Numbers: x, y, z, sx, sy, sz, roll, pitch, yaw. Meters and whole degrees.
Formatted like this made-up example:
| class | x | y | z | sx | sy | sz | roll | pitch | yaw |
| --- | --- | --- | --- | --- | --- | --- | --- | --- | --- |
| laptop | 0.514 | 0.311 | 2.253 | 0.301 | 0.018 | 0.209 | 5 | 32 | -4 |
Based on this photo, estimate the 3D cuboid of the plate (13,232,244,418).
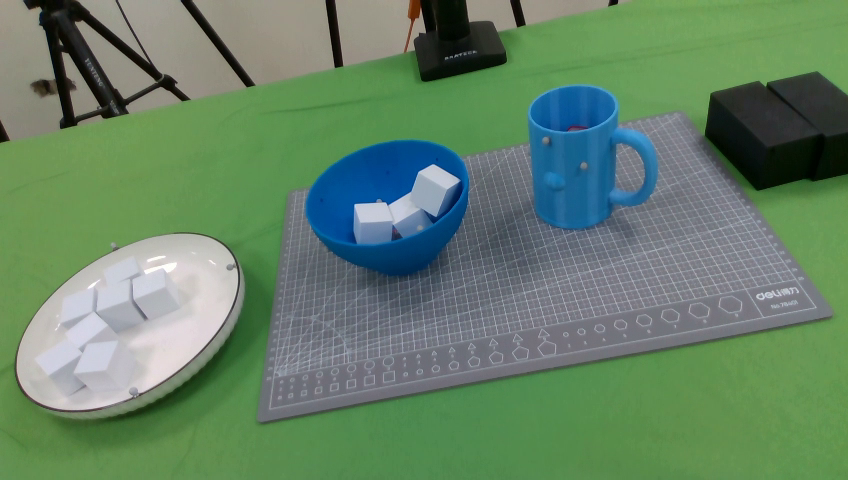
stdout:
| class | x | y | z | sx | sy | sz | roll | pitch | yaw |
| --- | --- | --- | --- | --- | --- | --- | --- | --- | --- |
| plate | -0.264 | 0.076 | 0.561 | 0.209 | 0.038 | 0.207 | -7 | 43 | 7 |

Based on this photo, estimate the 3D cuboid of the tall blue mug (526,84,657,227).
| class | x | y | z | sx | sy | sz | roll | pitch | yaw |
| --- | --- | --- | --- | --- | --- | --- | --- | --- | --- |
| tall blue mug | 0.151 | -0.076 | 0.552 | 0.107 | 0.109 | 0.077 | -3 | 43 | 12 |

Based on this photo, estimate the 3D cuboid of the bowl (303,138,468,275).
| class | x | y | z | sx | sy | sz | roll | pitch | yaw |
| --- | --- | --- | --- | --- | --- | --- | --- | --- | --- |
| bowl | -0.028 | -0.020 | 0.565 | 0.151 | 0.077 | 0.150 | -8 | 43 | 8 |
